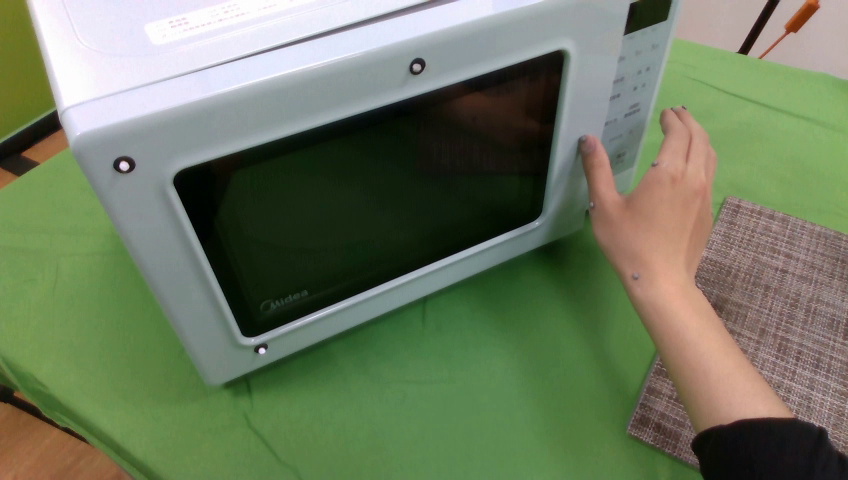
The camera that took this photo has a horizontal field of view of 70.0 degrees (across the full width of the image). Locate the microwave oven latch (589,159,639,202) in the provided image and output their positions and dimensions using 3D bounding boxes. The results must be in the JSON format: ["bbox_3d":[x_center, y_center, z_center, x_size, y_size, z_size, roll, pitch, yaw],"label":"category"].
[{"bbox_3d":[0.171,-0.060,0.592,0.079,0.030,0.030,-23,51,-17],"label":"microwave oven latch"}]

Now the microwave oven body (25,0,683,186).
[{"bbox_3d":[-0.061,-0.147,0.551,0.442,0.262,0.322,-25,51,-19],"label":"microwave oven body"}]

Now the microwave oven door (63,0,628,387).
[{"bbox_3d":[-0.020,-0.039,0.441,0.356,0.246,0.039,-22,49,-17],"label":"microwave oven door"}]
